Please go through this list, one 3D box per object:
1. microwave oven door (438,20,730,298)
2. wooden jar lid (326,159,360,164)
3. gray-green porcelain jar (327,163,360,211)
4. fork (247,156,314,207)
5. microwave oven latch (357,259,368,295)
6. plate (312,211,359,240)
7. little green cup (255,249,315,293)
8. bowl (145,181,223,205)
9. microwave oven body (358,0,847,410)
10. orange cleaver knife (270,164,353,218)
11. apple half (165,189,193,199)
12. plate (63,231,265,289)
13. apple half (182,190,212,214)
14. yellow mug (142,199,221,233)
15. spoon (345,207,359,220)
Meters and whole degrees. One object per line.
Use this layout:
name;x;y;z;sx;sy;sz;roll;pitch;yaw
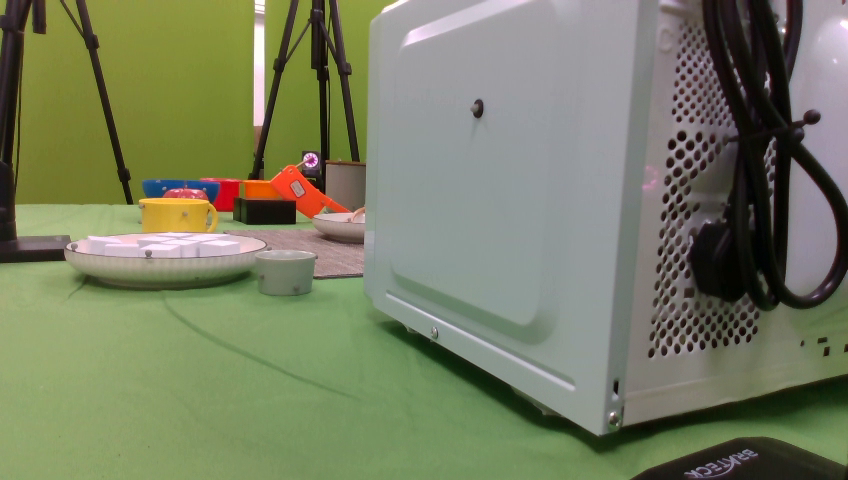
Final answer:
microwave oven door;0.181;-0.076;0.618;0.358;0.243;0.039;-2;8;-28
wooden jar lid;-0.185;-0.187;1.481;0.108;0.020;0.108;4;6;0
gray-green porcelain jar;-0.186;-0.125;1.490;0.106;0.126;0.106;2;8;0
fork;-0.360;-0.147;1.522;0.207;0.018;0.028;-43;14;-7
microwave oven latch;-0.019;0.031;0.530;0.079;0.029;0.030;-1;7;-27
plate;-0.091;-0.026;1.063;0.209;0.038;0.209;2;7;0
little green cup;-0.144;0.031;0.627;0.061;0.038;0.061;2;6;0
bowl;-0.499;-0.081;1.261;0.151;0.077;0.151;2;8;0
microwave oven body;0.210;-0.051;0.471;0.444;0.260;0.324;-1;7;-28
orange cleaver knife;-0.240;-0.088;1.329;0.212;0.077;0.012;36;-9;-33
apple half;-0.441;-0.055;1.097;0.053;0.074;0.081;0;10;12
plate;-0.288;0.021;0.687;0.208;0.039;0.207;2;8;0
apple half;-0.402;-0.054;1.090;0.033;0.081;0.081;1;7;12
yellow mug;-0.373;-0.030;0.948;0.099;0.064;0.131;6;7;30
spoon;-0.126;-0.047;1.117;0.041;0.021;0.194;-2;18;14
